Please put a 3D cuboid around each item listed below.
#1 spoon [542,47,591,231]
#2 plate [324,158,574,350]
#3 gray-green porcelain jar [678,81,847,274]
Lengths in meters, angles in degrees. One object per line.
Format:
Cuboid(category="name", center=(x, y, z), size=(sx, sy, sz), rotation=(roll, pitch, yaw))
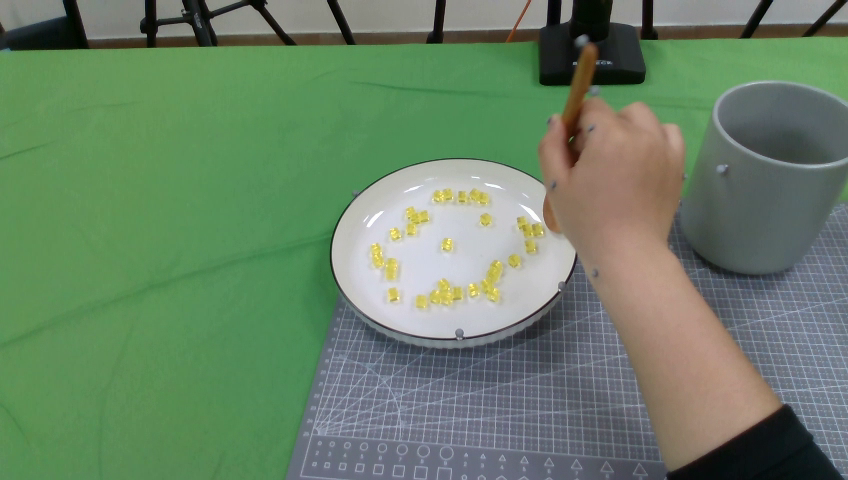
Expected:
Cuboid(category="spoon", center=(0.103, -0.065, 0.448), size=(0.021, 0.195, 0.041), rotation=(-14, 61, 0))
Cuboid(category="plate", center=(0.021, 0.010, 0.519), size=(0.207, 0.039, 0.205), rotation=(-2, 47, 3))
Cuboid(category="gray-green porcelain jar", center=(0.266, -0.043, 0.482), size=(0.106, 0.128, 0.105), rotation=(-3, 47, 4))
